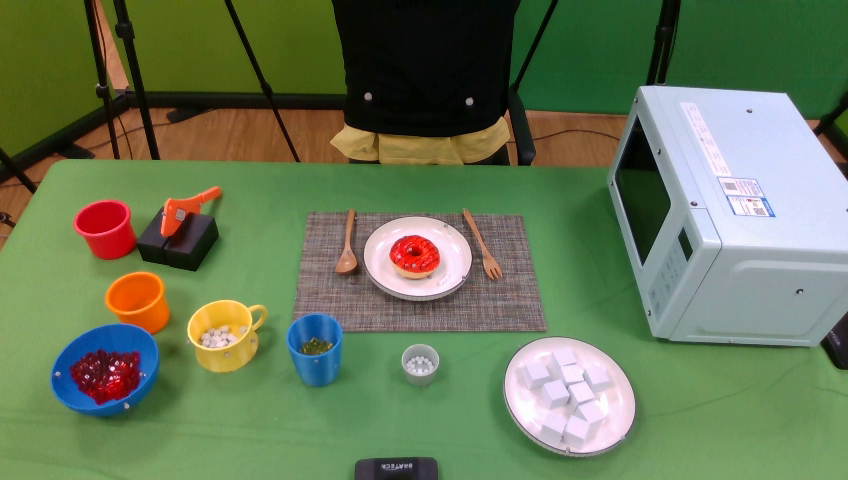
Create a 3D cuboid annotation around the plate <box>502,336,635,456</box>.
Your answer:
[{"bbox_3d":[0.225,0.248,0.963,0.208,0.039,0.206,2,46,-2],"label":"plate"}]

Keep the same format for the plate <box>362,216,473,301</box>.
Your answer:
[{"bbox_3d":[-0.012,0.038,1.145,0.209,0.038,0.208,2,46,-2],"label":"plate"}]

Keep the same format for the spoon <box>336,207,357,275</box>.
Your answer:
[{"bbox_3d":[-0.147,-0.002,1.184,0.041,0.022,0.192,-17,45,15],"label":"spoon"}]

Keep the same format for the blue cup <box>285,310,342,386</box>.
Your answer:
[{"bbox_3d":[-0.170,0.179,0.958,0.093,0.101,0.092,2,44,-1],"label":"blue cup"}]

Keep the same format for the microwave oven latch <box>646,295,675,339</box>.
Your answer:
[{"bbox_3d":[0.412,0.134,1.061,0.030,0.029,0.078,3,45,0],"label":"microwave oven latch"}]

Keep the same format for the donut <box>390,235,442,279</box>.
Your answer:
[{"bbox_3d":[-0.016,0.031,1.135,0.099,0.048,0.098,4,44,-3],"label":"donut"}]

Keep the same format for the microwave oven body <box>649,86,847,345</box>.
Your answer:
[{"bbox_3d":[0.568,-0.053,1.118,0.326,0.261,0.439,2,45,-1],"label":"microwave oven body"}]

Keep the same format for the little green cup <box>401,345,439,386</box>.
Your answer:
[{"bbox_3d":[-0.007,0.206,0.988,0.061,0.039,0.061,2,46,-2],"label":"little green cup"}]

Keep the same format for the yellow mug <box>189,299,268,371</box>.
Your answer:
[{"bbox_3d":[-0.316,0.148,1.002,0.131,0.064,0.099,-32,56,-31],"label":"yellow mug"}]

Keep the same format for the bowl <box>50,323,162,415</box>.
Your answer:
[{"bbox_3d":[-0.472,0.209,0.924,0.151,0.077,0.150,3,45,-2],"label":"bowl"}]

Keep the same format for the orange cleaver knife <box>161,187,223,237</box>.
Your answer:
[{"bbox_3d":[-0.448,-0.059,1.181,0.012,0.077,0.211,14,17,6],"label":"orange cleaver knife"}]

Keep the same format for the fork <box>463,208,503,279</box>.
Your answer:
[{"bbox_3d":[0.112,0.003,1.199,0.028,0.019,0.206,-20,50,-2],"label":"fork"}]

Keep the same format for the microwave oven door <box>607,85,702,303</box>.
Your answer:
[{"bbox_3d":[0.423,-0.094,1.140,0.039,0.245,0.353,2,46,-1],"label":"microwave oven door"}]
